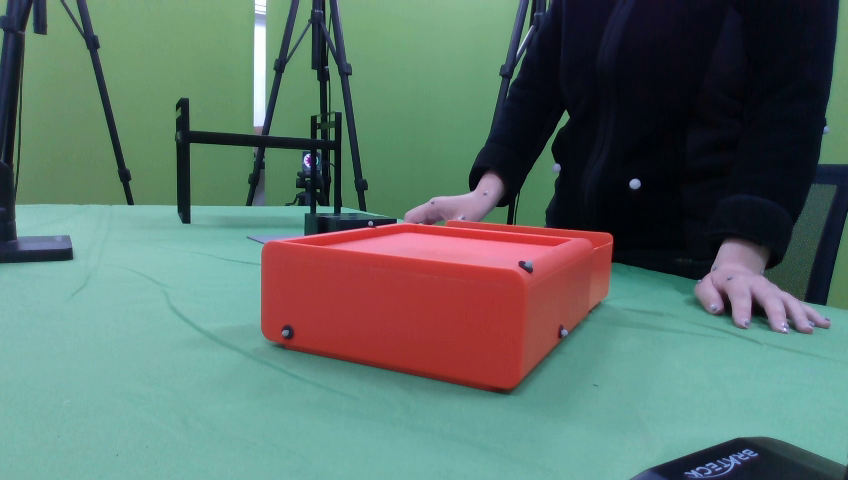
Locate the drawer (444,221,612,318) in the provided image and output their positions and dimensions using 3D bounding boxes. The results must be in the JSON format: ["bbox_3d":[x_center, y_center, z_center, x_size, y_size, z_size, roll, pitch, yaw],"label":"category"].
[{"bbox_3d":[0.061,0.030,0.583,0.194,0.073,0.212,7,9,27],"label":"drawer"}]

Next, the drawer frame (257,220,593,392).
[{"bbox_3d":[0.014,0.036,0.491,0.201,0.082,0.214,6,9,24],"label":"drawer frame"}]

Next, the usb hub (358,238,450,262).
[{"bbox_3d":[-0.028,0.013,0.856,0.126,0.025,0.049,-2,8,-34],"label":"usb hub"}]
